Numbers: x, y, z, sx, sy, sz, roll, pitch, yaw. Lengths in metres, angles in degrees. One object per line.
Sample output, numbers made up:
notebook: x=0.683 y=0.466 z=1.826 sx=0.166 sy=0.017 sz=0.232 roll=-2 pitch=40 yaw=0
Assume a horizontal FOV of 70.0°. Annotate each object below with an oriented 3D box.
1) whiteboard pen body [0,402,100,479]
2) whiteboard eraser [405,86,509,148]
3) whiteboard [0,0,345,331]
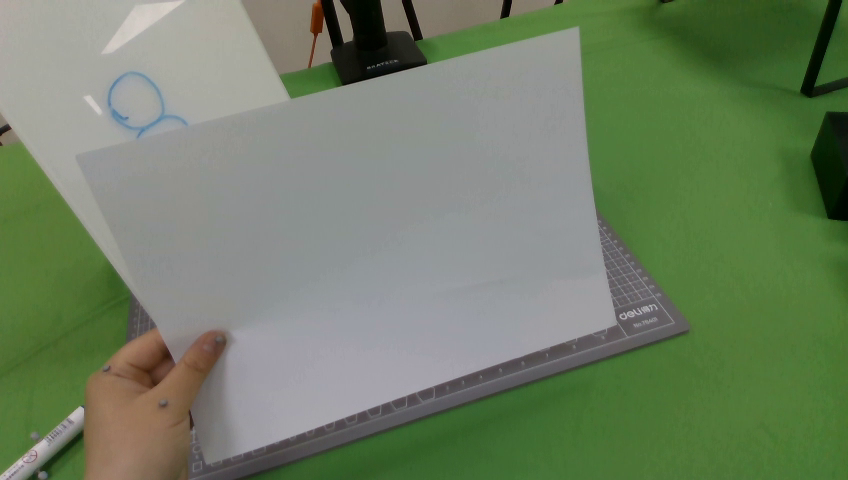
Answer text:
whiteboard pen body: x=-0.301 y=0.175 z=0.443 sx=0.017 sy=0.017 sz=0.140 roll=20 pitch=49 yaw=29
whiteboard eraser: x=0.038 y=-0.140 z=0.703 sx=0.113 sy=0.042 sz=0.055 roll=-18 pitch=45 yaw=-10
whiteboard: x=-0.254 y=-0.111 z=0.578 sx=0.217 sy=0.308 sz=0.142 roll=-38 pitch=29 yaw=-26
